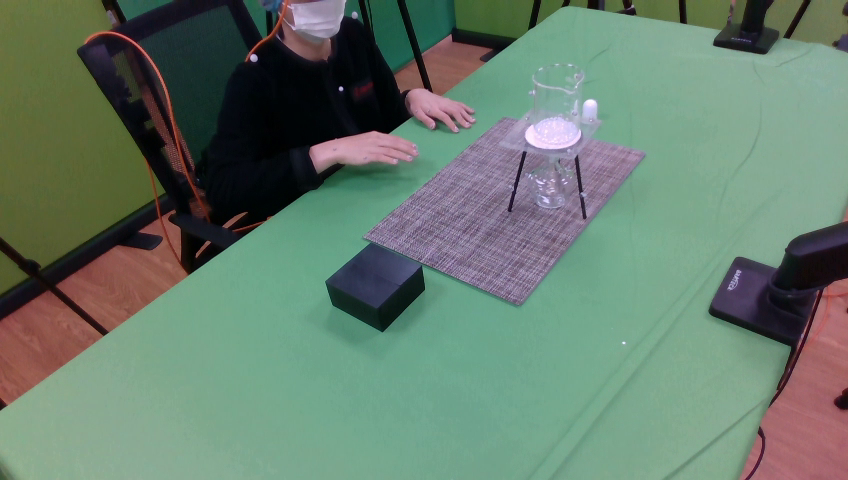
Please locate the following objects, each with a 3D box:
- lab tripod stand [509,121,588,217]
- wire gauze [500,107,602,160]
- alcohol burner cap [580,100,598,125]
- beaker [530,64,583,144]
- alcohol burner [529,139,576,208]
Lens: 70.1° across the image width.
[{"bbox_3d":[0.208,-0.114,0.983,0.148,0.132,0.147,-5,42,5],"label":"lab tripod stand"},{"bbox_3d":[0.199,-0.166,0.945,0.120,0.011,0.125,17,50,28],"label":"wire gauze"},{"bbox_3d":[0.331,-0.258,1.210,0.034,0.048,0.033,-5,41,4],"label":"alcohol burner cap"},{"bbox_3d":[0.201,-0.201,0.909,0.074,0.101,0.083,-19,43,-10],"label":"beaker"},{"bbox_3d":[0.211,-0.112,0.995,0.078,0.119,0.077,-6,41,6],"label":"alcohol burner"}]
